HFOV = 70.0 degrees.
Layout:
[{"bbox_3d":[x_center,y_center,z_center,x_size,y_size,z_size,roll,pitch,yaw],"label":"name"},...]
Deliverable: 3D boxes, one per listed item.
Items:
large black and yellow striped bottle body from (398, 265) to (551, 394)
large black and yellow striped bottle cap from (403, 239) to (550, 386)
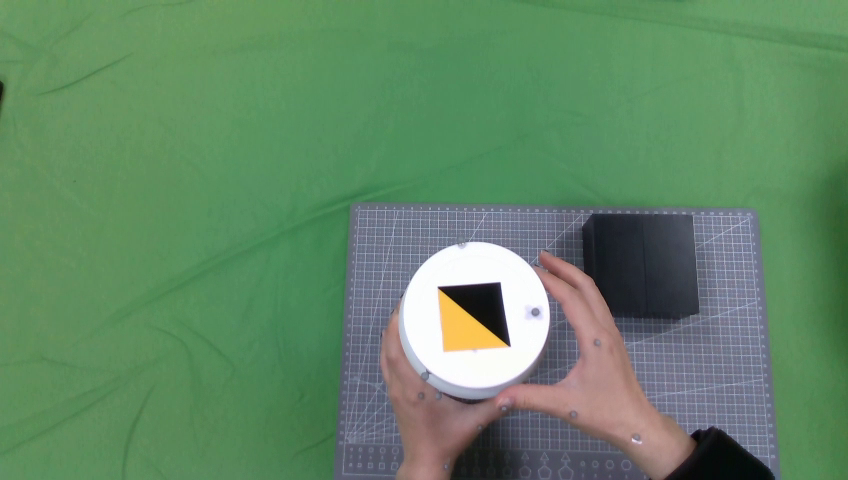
[{"bbox_3d":[0.045,0.075,0.559,0.131,0.185,0.130,0,77,2],"label":"large black and yellow striped bottle body"},{"bbox_3d":[0.041,0.056,0.473,0.115,0.019,0.114,-1,78,4],"label":"large black and yellow striped bottle cap"}]
